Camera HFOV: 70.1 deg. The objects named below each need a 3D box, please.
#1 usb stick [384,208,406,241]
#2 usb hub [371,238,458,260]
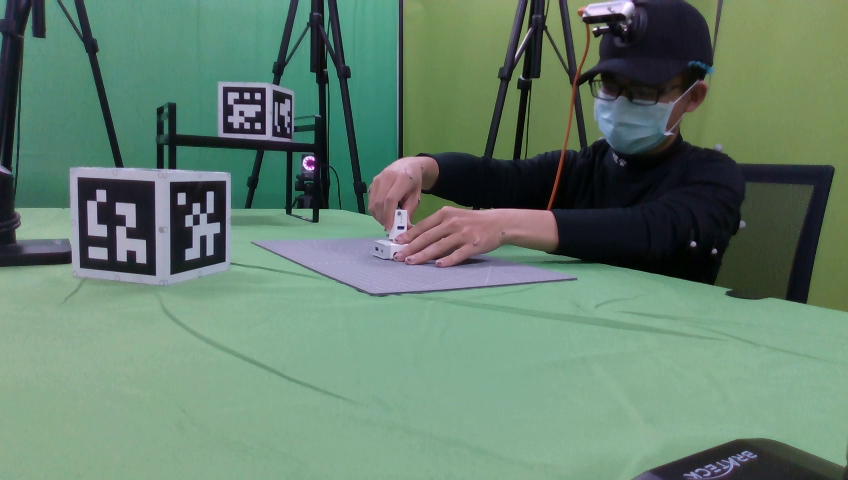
[{"bbox_3d":[-0.044,-0.017,0.892,0.021,0.059,0.027,6,5,-35],"label":"usb stick"},{"bbox_3d":[-0.014,0.013,0.909,0.126,0.025,0.049,-2,10,-29],"label":"usb hub"}]
